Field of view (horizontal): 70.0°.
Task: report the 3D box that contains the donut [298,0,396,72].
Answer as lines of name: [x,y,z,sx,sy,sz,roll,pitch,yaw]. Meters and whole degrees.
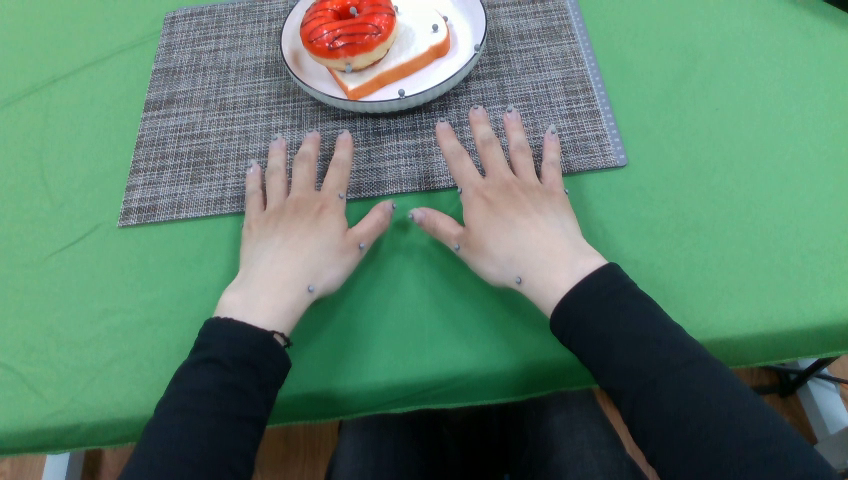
donut: [-0.075,-0.208,0.592,0.099,0.049,0.098,-4,59,6]

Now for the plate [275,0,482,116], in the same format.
plate: [-0.045,-0.200,0.619,0.207,0.039,0.205,-2,58,3]

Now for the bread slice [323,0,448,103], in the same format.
bread slice: [-0.044,-0.202,0.623,0.131,0.019,0.104,-29,60,-11]
